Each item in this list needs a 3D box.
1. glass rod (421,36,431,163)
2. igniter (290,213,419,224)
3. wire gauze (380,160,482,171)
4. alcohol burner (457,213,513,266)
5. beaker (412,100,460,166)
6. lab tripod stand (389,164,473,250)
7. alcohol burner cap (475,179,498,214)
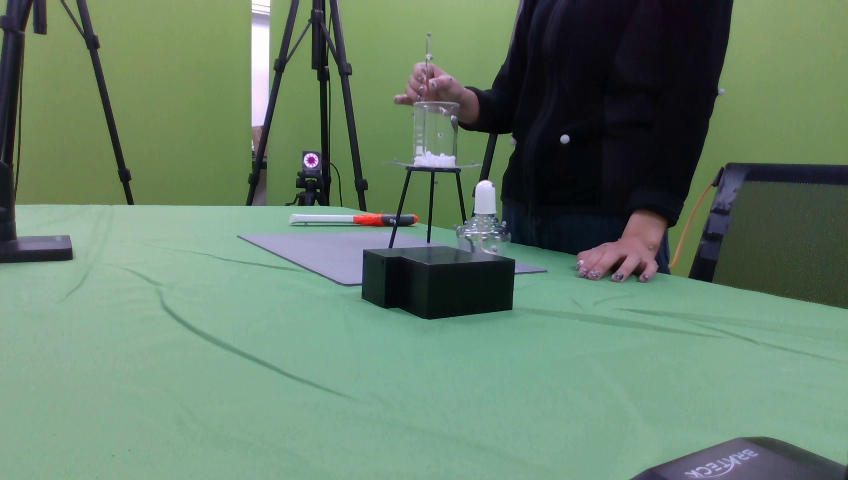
[{"bbox_3d":[0.004,-0.222,0.961,0.008,0.199,0.008,3,7,0],"label":"glass rod"},{"bbox_3d":[-0.143,-0.046,1.288,0.278,0.025,0.057,-1,-3,-24],"label":"igniter"},{"bbox_3d":[0.011,-0.119,0.951,0.122,0.011,0.124,-5,12,-32],"label":"wire gauze"},{"bbox_3d":[0.084,-0.025,0.837,0.078,0.119,0.078,0,8,0],"label":"alcohol burner"},{"bbox_3d":[0.020,-0.167,0.953,0.073,0.100,0.084,5,9,26],"label":"beaker"},{"bbox_3d":[0.011,-0.054,0.960,0.148,0.131,0.148,2,9,0],"label":"lab tripod stand"},{"bbox_3d":[0.086,-0.061,0.833,0.034,0.048,0.034,-1,11,0],"label":"alcohol burner cap"}]
